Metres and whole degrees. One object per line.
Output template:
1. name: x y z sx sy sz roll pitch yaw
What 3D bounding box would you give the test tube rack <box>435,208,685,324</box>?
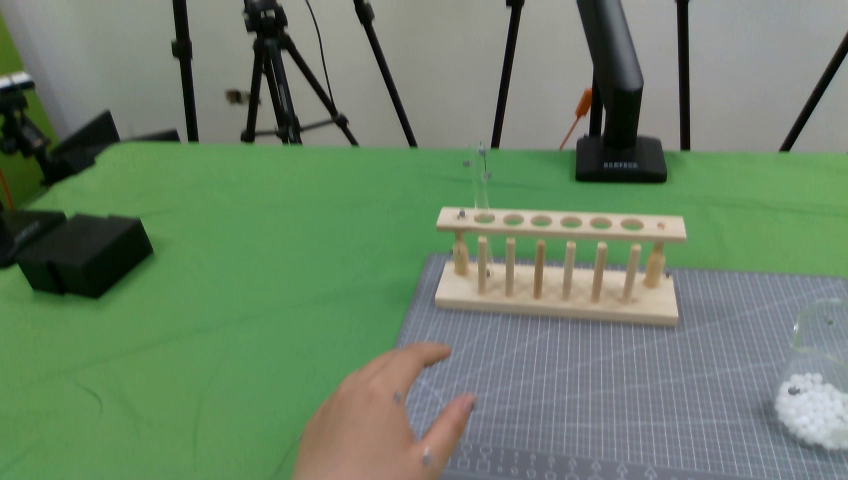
1. test tube rack: 0.133 0.024 0.622 0.242 0.086 0.066 3 36 13

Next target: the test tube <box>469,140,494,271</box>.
1. test tube: 0.060 -0.031 0.625 0.017 0.151 0.017 -6 32 4

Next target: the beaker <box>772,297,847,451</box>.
1. beaker: 0.313 0.106 0.465 0.084 0.101 0.073 -8 34 -1
